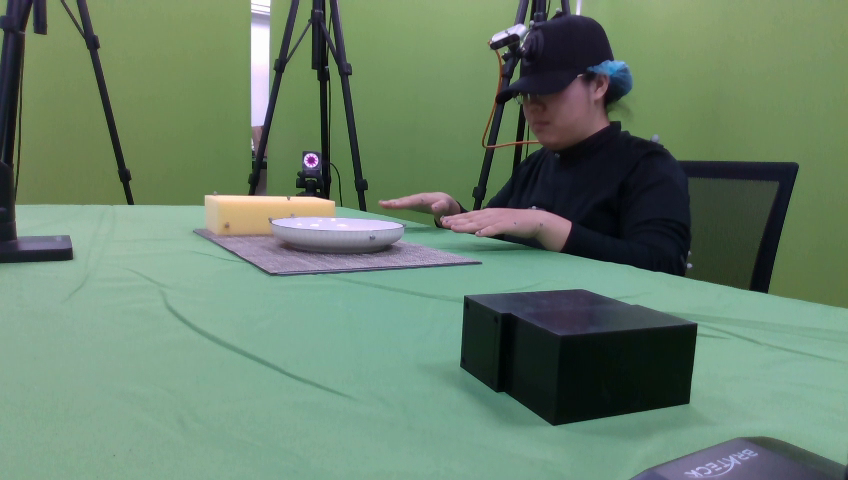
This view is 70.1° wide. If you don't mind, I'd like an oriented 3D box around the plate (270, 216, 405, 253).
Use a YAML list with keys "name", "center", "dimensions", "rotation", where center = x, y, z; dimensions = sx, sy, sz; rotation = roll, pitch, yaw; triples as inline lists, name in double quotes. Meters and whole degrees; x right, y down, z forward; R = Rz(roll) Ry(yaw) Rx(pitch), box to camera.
- name: "plate"
  center: [-0.134, -0.010, 0.946]
  dimensions: [0.208, 0.039, 0.207]
  rotation: [2, 7, 0]

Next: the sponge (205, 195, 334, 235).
- name: "sponge"
  center: [-0.280, -0.047, 1.097]
  dimensions: [0.208, 0.061, 0.117]
  rotation: [-2, 9, -30]
